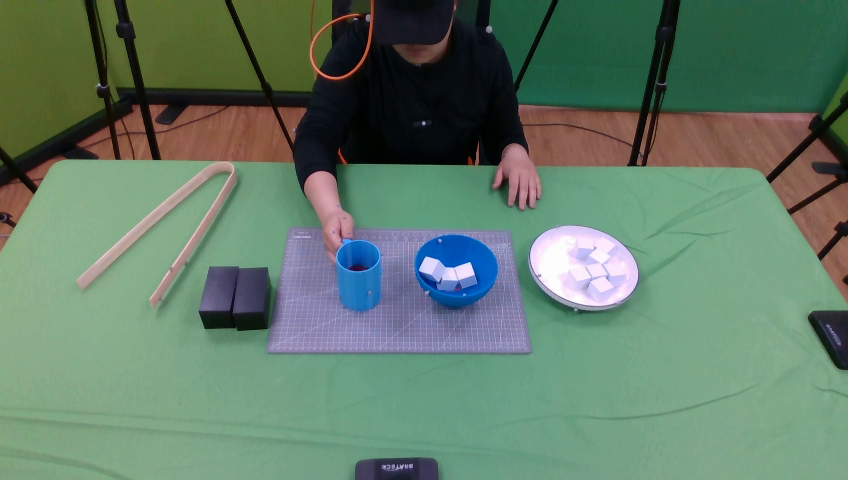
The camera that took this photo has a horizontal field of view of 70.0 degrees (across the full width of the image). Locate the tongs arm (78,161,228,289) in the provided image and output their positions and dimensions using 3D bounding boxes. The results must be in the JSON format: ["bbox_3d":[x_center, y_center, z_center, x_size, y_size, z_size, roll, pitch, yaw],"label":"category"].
[{"bbox_3d":[-0.524,-0.043,1.196,0.028,0.028,0.386,15,47,22],"label":"tongs arm"}]

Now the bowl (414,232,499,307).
[{"bbox_3d":[0.056,0.067,1.093,0.151,0.077,0.150,2,46,-2],"label":"bowl"}]

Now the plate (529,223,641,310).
[{"bbox_3d":[0.303,0.053,1.156,0.209,0.038,0.208,2,46,-1],"label":"plate"}]

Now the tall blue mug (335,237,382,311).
[{"bbox_3d":[-0.126,0.054,1.071,0.107,0.108,0.077,31,53,23],"label":"tall blue mug"}]

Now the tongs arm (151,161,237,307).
[{"bbox_3d":[-0.447,-0.026,1.180,0.051,0.026,0.383,8,46,10],"label":"tongs arm"}]
